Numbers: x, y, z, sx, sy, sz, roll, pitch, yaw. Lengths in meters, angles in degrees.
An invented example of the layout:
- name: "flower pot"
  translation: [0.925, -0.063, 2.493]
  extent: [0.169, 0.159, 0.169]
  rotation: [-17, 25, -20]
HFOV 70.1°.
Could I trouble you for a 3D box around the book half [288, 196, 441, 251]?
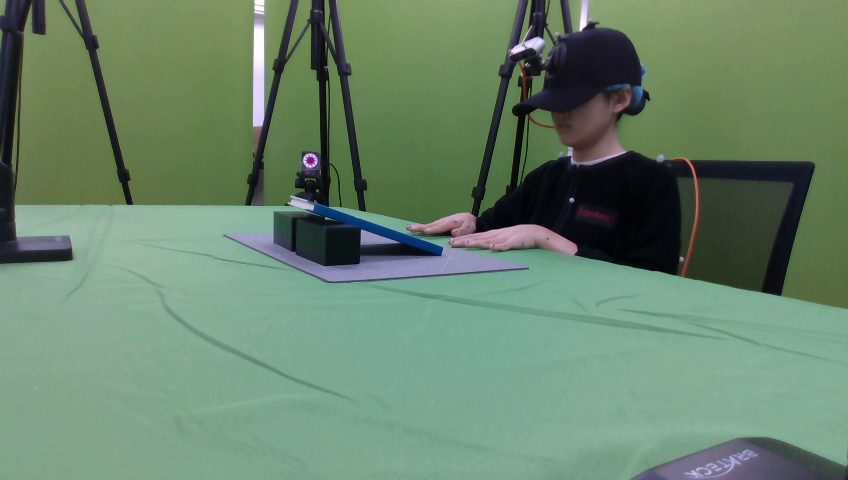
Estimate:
- name: "book half"
  translation: [-0.092, -0.026, 0.920]
  extent: [0.211, 0.007, 0.142]
  rotation: [19, -1, -27]
